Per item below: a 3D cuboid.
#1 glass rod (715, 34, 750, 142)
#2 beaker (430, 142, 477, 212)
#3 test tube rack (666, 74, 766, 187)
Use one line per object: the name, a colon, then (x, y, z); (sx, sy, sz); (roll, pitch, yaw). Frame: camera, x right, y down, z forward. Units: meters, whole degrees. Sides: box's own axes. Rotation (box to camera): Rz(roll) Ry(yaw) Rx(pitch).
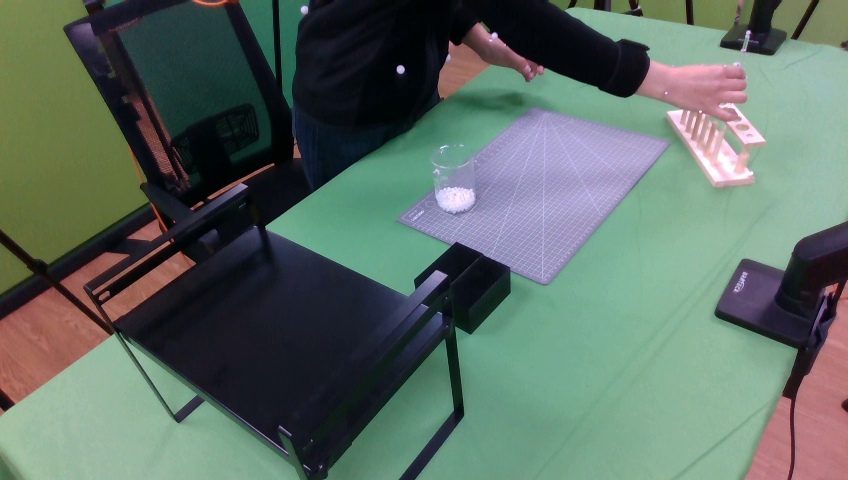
glass rod: (0.520, -0.249, 1.021); (0.008, 0.200, 0.008); (-2, 41, 3)
beaker: (0.050, -0.105, 1.026); (0.074, 0.101, 0.083); (-27, 43, -21)
test tube rack: (0.512, -0.202, 1.082); (0.067, 0.085, 0.241); (-5, 41, 2)
